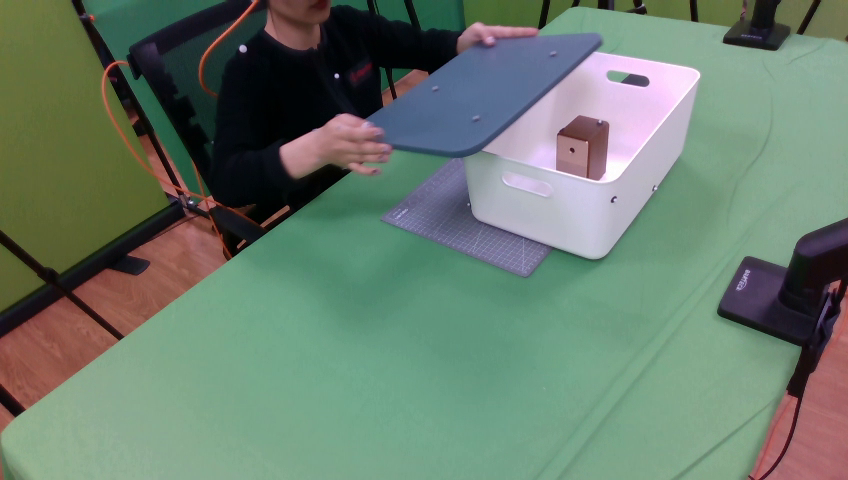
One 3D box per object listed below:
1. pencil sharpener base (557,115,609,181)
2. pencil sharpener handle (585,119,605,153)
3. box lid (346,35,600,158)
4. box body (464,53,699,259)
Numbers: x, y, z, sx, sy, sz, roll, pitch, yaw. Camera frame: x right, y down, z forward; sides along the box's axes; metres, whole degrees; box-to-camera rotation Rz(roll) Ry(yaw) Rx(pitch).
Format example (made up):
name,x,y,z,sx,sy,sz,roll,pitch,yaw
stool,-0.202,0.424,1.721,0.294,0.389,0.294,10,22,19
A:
name,x,y,z,sx,sy,sz,roll,pitch,yaw
pencil sharpener base,0.270,-0.147,1.024,0.061,0.107,0.077,23,49,33
pencil sharpener handle,0.301,-0.184,1.044,0.035,0.068,0.031,21,48,35
box lid,0.079,-0.235,0.939,0.261,0.015,0.372,15,46,42
box body,0.261,-0.153,1.001,0.252,0.161,0.365,21,48,31
